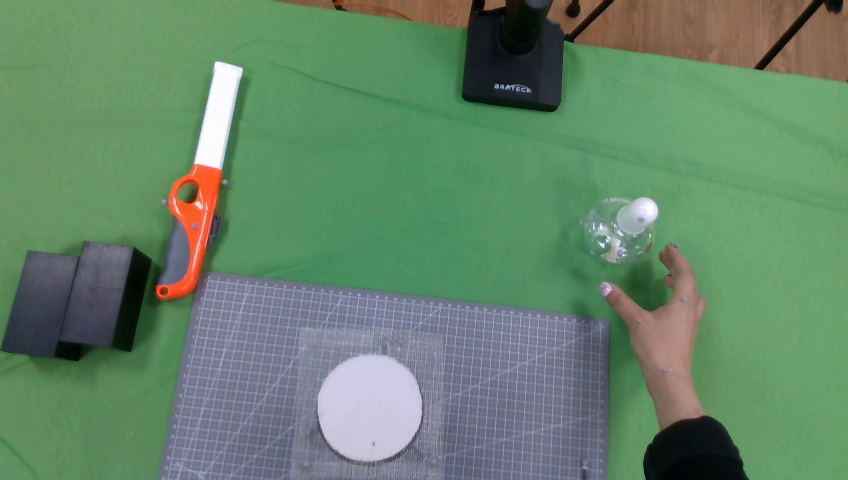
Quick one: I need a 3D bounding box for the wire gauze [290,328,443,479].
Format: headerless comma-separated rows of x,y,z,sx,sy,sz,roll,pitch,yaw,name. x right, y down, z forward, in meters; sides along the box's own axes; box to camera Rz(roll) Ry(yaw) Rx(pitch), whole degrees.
-0.046,0.134,0.504,0.125,0.011,0.121,3,73,-5,wire gauze

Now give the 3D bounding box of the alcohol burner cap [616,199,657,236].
0.220,-0.025,0.617,0.034,0.048,0.033,0,78,-1,alcohol burner cap

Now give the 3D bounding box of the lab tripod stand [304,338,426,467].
-0.050,0.156,0.568,0.148,0.132,0.147,1,73,-3,lab tripod stand

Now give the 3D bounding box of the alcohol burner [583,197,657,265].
0.216,-0.015,0.652,0.078,0.119,0.077,2,72,-4,alcohol burner

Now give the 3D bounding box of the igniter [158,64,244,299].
-0.242,-0.068,0.669,0.057,0.025,0.275,12,73,-17,igniter

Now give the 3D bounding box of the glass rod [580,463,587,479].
0.157,0.327,0.603,0.008,0.008,0.198,6,74,-3,glass rod
